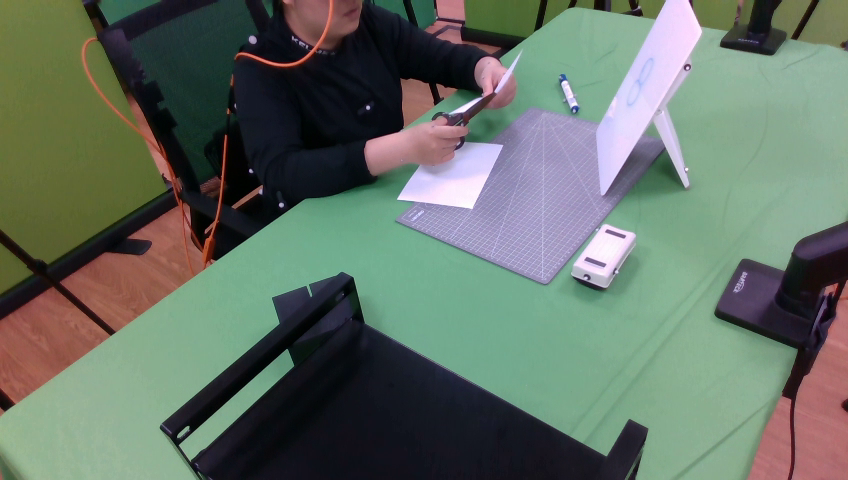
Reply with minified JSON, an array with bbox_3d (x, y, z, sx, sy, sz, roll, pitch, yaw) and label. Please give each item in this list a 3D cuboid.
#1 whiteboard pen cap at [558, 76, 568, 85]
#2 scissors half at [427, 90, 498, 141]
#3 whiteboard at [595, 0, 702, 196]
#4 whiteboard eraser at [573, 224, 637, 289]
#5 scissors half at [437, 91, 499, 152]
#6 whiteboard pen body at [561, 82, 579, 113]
[{"bbox_3d":[0.310,-0.350,1.341,0.018,0.018,0.033,-6,41,2],"label":"whiteboard pen cap"},{"bbox_3d":[0.064,-0.217,1.043,0.174,0.040,0.013,-21,23,44],"label":"scissors half"},{"bbox_3d":[0.421,-0.227,1.010,0.144,0.305,0.216,18,42,-2],"label":"whiteboard"},{"bbox_3d":[0.267,0.025,0.891,0.055,0.042,0.113,19,47,31],"label":"whiteboard eraser"},{"bbox_3d":[0.077,-0.203,1.047,0.040,0.174,0.013,37,50,-8],"label":"scissors half"},{"bbox_3d":[0.310,-0.311,1.298,0.017,0.017,0.140,-6,41,2],"label":"whiteboard pen body"}]
